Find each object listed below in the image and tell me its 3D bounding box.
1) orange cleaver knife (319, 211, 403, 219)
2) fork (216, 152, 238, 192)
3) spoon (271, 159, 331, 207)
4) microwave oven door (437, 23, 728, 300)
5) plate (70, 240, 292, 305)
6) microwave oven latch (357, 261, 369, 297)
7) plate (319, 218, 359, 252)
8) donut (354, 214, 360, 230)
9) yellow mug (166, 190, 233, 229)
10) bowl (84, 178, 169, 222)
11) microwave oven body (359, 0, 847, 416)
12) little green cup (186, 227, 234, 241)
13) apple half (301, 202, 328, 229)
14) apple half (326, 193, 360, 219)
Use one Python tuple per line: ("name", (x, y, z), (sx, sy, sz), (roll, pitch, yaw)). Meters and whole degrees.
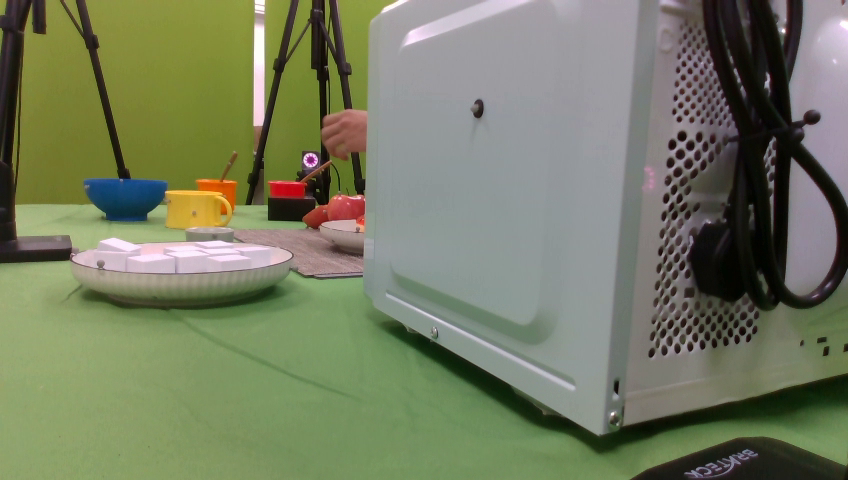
("orange cleaver knife", (-0.142, -0.057, 1.394), (0.077, 0.012, 0.212), (3, 7, 44))
("fork", (-0.455, -0.132, 1.367), (0.028, 0.018, 0.207), (-2, -35, -37))
("spoon", (-0.307, -0.141, 1.513), (0.193, 0.021, 0.041), (-42, 3, 8))
("microwave oven door", (0.181, -0.072, 0.621), (0.358, 0.243, 0.039), (-2, 8, -29))
("plate", (-0.242, 0.032, 0.618), (0.208, 0.039, 0.207), (2, 8, 0))
("microwave oven latch", (-0.019, 0.033, 0.531), (0.079, 0.029, 0.030), (-1, 7, -28))
("plate", (-0.059, -0.007, 0.939), (0.209, 0.038, 0.209), (3, 8, 0))
("donut", (-0.062, -0.020, 0.955), (0.099, 0.048, 0.099), (5, 7, 0))
("yellow mug", (-0.415, -0.057, 1.132), (0.130, 0.064, 0.100), (6, 8, 16))
("bowl", (-0.584, -0.078, 1.194), (0.151, 0.077, 0.151), (3, 8, 0))
("microwave oven body", (0.211, -0.047, 0.474), (0.444, 0.260, 0.324), (-1, 7, -28))
("little green cup", (-0.285, 0.005, 0.805), (0.061, 0.038, 0.061), (2, 8, 0))
("apple half", (-0.195, -0.043, 1.172), (0.081, 0.032, 0.081), (-21, -16, -6))
("apple half", (-0.135, -0.047, 1.089), (0.081, 0.074, 0.053), (5, 10, -12))
